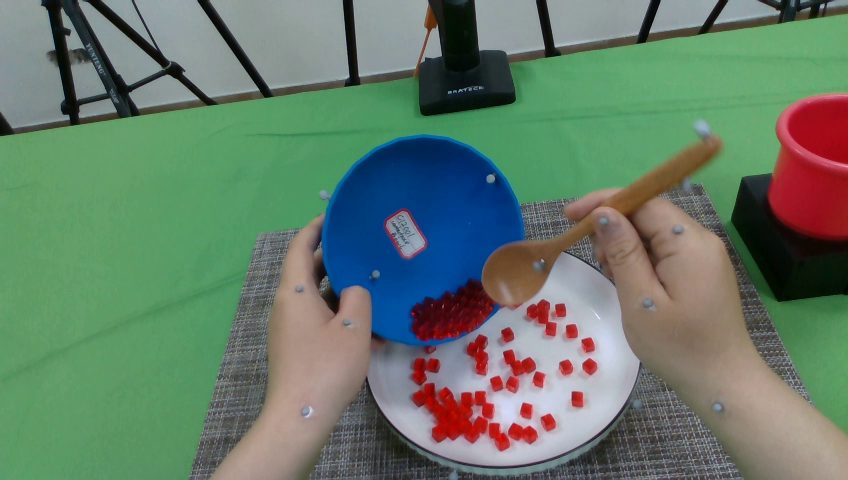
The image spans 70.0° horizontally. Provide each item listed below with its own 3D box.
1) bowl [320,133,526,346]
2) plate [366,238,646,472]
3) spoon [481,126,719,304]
[{"bbox_3d":[-0.008,-0.002,0.460,0.151,0.152,0.076,-25,11,-14],"label":"bowl"},{"bbox_3d":[0.061,0.082,0.468,0.207,0.039,0.205,-6,44,6],"label":"plate"},{"bbox_3d":[0.090,-0.006,0.348,0.021,0.194,0.041,-37,86,-34],"label":"spoon"}]
